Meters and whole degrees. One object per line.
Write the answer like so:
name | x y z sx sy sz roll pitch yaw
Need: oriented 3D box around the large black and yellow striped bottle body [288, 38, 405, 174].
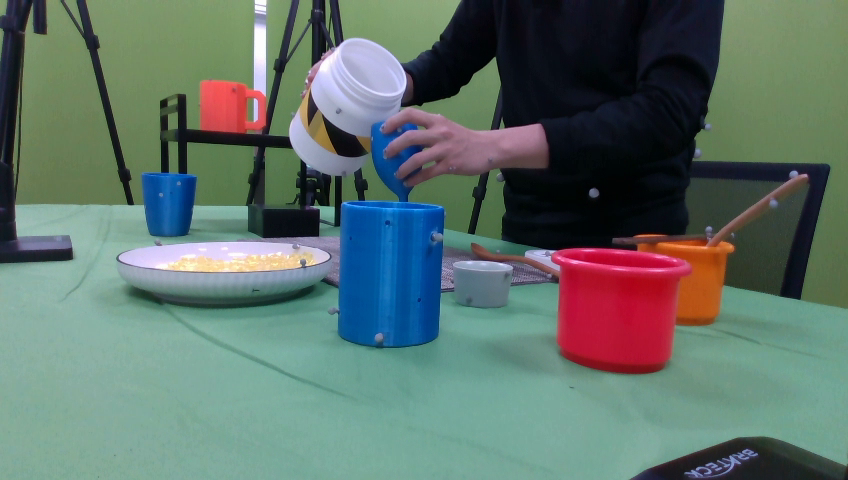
large black and yellow striped bottle body | -0.118 -0.202 0.926 0.131 0.130 0.183 -3 -29 -36

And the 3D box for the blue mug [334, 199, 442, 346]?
blue mug | -0.034 0.020 0.498 0.083 0.106 0.116 0 7 -20

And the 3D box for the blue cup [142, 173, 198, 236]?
blue cup | -0.425 -0.060 1.014 0.093 0.100 0.092 4 9 0

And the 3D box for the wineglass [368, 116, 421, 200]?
wineglass | -0.033 -0.079 0.836 0.074 0.172 0.073 -9 1 0

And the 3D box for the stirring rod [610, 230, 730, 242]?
stirring rod | 0.241 -0.005 0.582 0.177 0.006 0.014 -3 9 -34

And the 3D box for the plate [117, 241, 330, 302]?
plate | -0.203 0.031 0.630 0.209 0.038 0.209 3 7 0

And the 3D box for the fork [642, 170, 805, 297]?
fork | 0.261 0.004 0.545 0.028 0.018 0.207 5 -37 -15

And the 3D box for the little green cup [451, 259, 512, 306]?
little green cup | 0.057 0.043 0.611 0.061 0.038 0.061 3 8 0

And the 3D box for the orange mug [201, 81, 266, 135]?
orange mug | -0.377 -0.260 1.198 0.126 0.101 0.083 -3 8 -6

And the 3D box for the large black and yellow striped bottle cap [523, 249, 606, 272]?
large black and yellow striped bottle cap | 0.198 0.028 0.851 0.115 0.019 0.115 5 5 0

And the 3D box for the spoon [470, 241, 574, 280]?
spoon | 0.124 0.025 0.800 0.042 0.021 0.192 22 -5 -34
